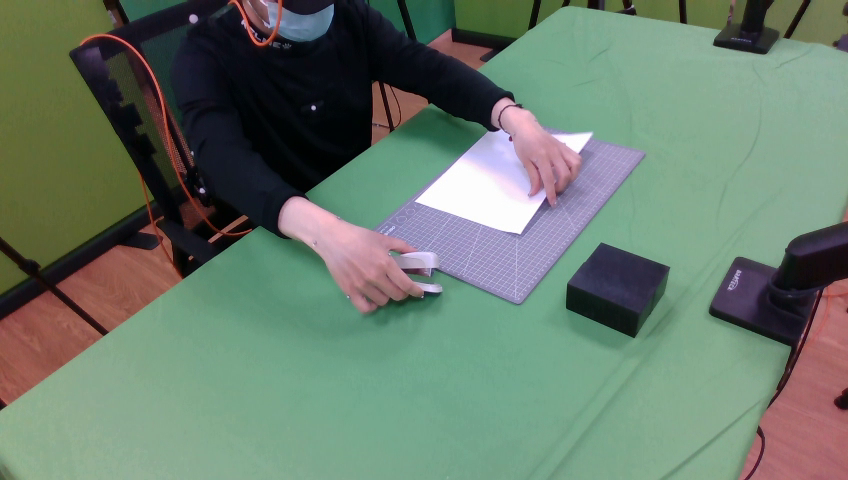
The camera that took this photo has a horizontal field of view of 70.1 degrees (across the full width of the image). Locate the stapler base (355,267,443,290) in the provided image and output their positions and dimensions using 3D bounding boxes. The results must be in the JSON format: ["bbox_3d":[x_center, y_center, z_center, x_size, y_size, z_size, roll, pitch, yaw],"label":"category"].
[{"bbox_3d":[-0.035,0.054,0.895,0.130,0.041,0.024,6,86,16],"label":"stapler base"}]

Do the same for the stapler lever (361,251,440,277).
[{"bbox_3d":[-0.033,0.030,0.895,0.117,0.027,0.040,7,87,16],"label":"stapler lever"}]
